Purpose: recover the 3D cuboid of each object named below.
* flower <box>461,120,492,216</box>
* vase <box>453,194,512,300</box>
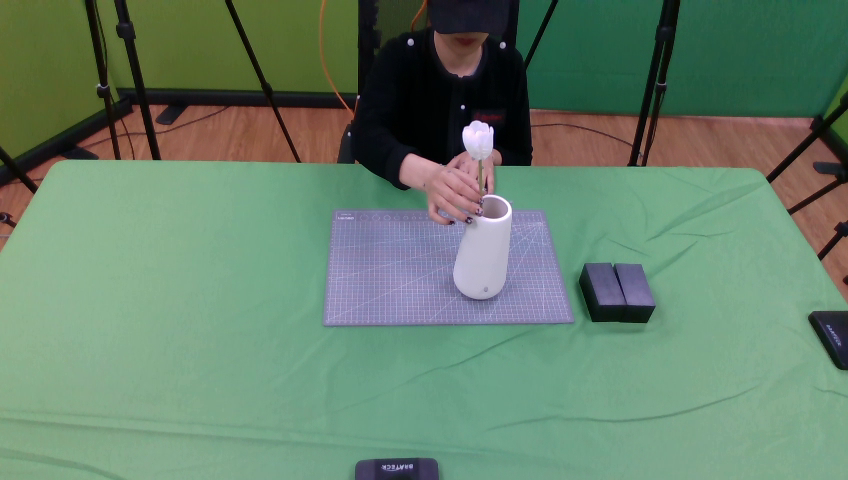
[{"bbox_3d":[0.096,-0.054,1.011,0.044,0.364,0.038,-9,52,2],"label":"flower"},{"bbox_3d":[0.107,0.016,1.065,0.098,0.201,0.097,3,47,-3],"label":"vase"}]
